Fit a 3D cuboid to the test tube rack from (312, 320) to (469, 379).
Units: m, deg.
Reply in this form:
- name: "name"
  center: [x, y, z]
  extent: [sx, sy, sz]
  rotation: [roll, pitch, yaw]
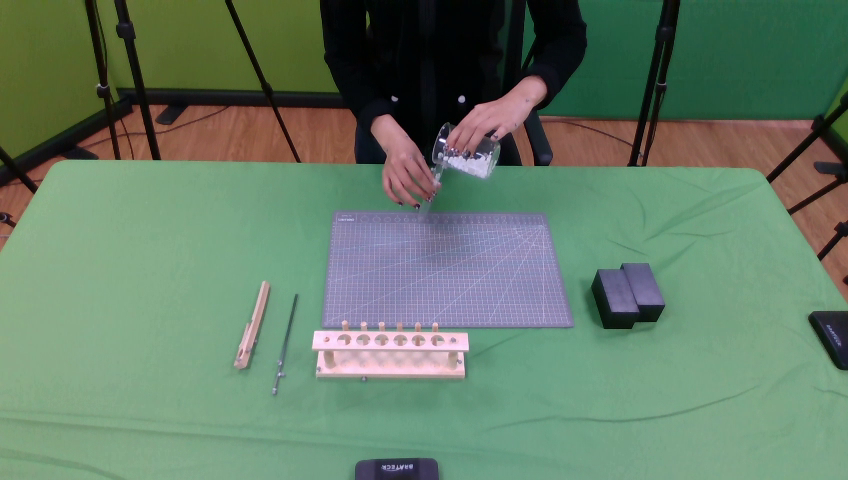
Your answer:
- name: "test tube rack"
  center: [-0.054, 0.173, 0.984]
  extent: [0.242, 0.085, 0.066]
  rotation: [1, 46, -3]

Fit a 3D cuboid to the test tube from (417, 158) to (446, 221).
- name: "test tube"
  center: [0.012, -0.091, 1.123]
  extent: [0.017, 0.151, 0.017]
  rotation: [11, 45, -11]

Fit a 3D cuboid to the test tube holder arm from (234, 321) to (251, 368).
- name: "test tube holder arm"
  center: [-0.299, 0.173, 1.013]
  extent: [0.010, 0.015, 0.087]
  rotation: [-16, 42, 22]

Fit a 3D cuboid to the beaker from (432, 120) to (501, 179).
- name: "beaker"
  center: [0.074, -0.150, 1.032]
  extent: [0.100, 0.084, 0.074]
  rotation: [22, 52, 14]

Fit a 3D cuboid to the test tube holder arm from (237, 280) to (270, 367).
- name: "test tube holder arm"
  center: [-0.290, 0.139, 1.042]
  extent: [0.013, 0.015, 0.177]
  rotation: [-17, 42, 22]

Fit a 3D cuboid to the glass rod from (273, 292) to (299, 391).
- name: "glass rod"
  center: [-0.233, 0.167, 1.030]
  extent: [0.008, 0.008, 0.198]
  rotation: [3, 46, 0]
